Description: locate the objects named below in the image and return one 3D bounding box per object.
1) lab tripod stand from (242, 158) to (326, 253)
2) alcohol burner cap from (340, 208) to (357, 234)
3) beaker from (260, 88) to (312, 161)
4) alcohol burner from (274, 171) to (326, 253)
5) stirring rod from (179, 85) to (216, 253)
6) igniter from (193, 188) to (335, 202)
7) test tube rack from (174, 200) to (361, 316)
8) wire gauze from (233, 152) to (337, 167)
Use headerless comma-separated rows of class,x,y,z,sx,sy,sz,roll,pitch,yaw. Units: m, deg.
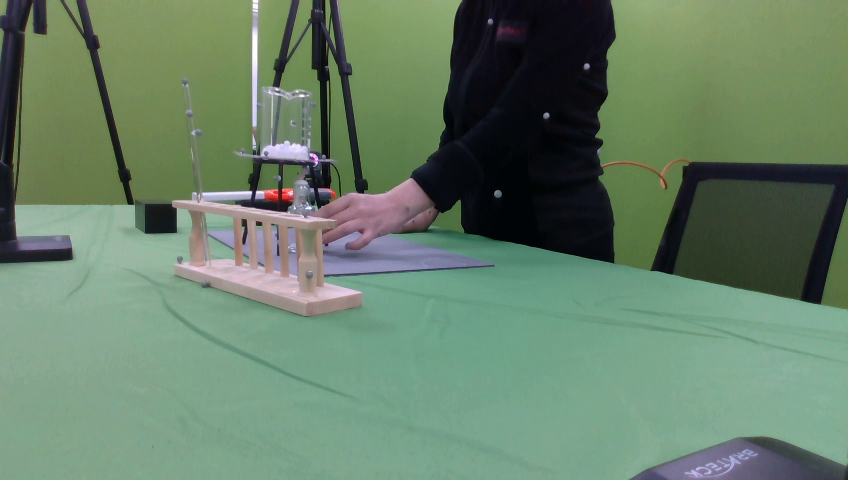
lab tripod stand,-0.207,-0.054,0.895,0.148,0.131,0.148,3,5,0
alcohol burner cap,-0.142,-0.035,1.136,0.034,0.048,0.034,2,7,0
beaker,-0.201,-0.166,0.876,0.074,0.100,0.083,1,7,-18
alcohol burner,-0.180,-0.041,0.884,0.078,0.119,0.078,1,6,0
stirring rod,-0.237,-0.073,0.634,0.006,0.176,0.014,0,10,42
igniter,-0.312,-0.089,1.209,0.278,0.025,0.057,-5,13,-31
test tube rack,-0.169,0.009,0.622,0.241,0.085,0.067,9,9,41
wire gauze,-0.205,-0.119,0.887,0.122,0.011,0.124,2,4,-32
